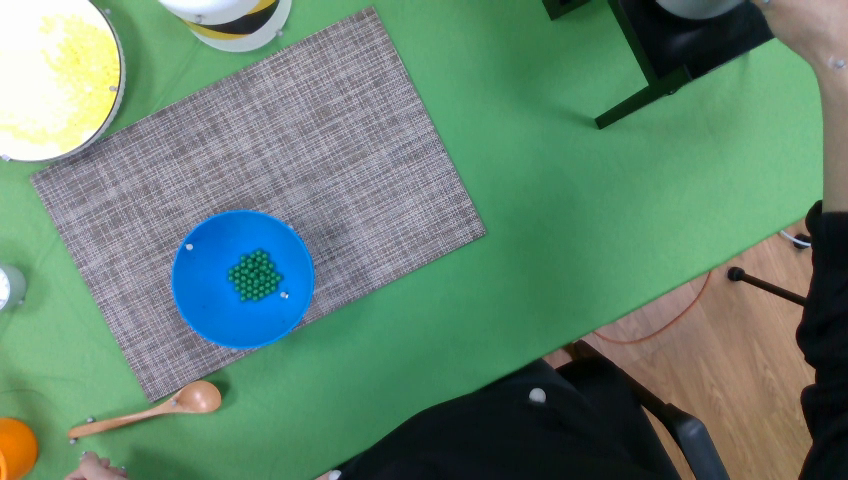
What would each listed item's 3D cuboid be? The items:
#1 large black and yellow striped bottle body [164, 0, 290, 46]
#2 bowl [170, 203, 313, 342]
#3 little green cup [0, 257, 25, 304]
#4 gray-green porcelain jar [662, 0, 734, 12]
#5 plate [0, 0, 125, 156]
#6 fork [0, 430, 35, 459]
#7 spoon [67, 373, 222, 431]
[{"bbox_3d":[-0.217,-0.288,0.619,0.131,0.183,0.131,0,92,-2],"label":"large black and yellow striped bottle body"},{"bbox_3d":[-0.196,0.034,0.684,0.151,0.076,0.151,0,93,-2],"label":"bowl"},{"bbox_3d":[-0.496,0.046,0.695,0.061,0.038,0.061,0,93,-2],"label":"little green cup"},{"bbox_3d":[0.243,-0.252,0.489,0.106,0.126,0.106,0,92,-2],"label":"gray-green porcelain jar"},{"bbox_3d":[-0.442,-0.198,0.686,0.209,0.038,0.209,0,93,-3],"label":"plate"},{"bbox_3d":[-0.538,0.246,0.648,0.208,0.018,0.028,-9,96,-45],"label":"fork"},{"bbox_3d":[-0.332,0.196,0.717,0.194,0.021,0.042,-16,107,-2],"label":"spoon"}]
